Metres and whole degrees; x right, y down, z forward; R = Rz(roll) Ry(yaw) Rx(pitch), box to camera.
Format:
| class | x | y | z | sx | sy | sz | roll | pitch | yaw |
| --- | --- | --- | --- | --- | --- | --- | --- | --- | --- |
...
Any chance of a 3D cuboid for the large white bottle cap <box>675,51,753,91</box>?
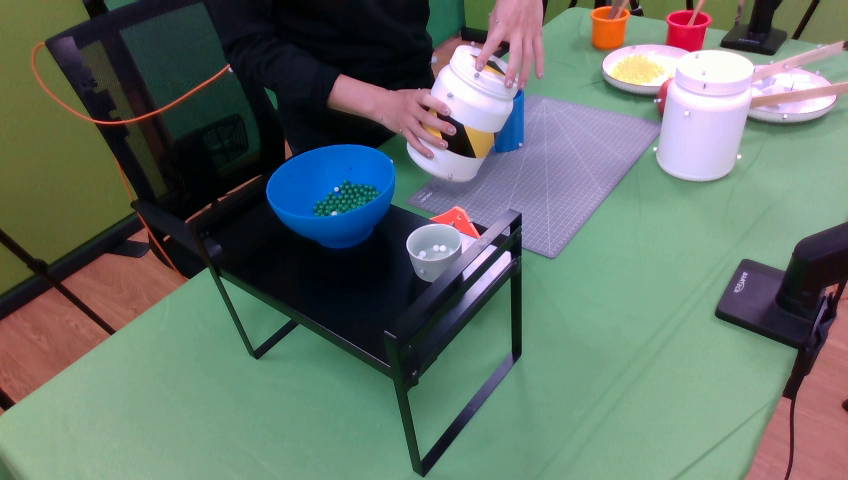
| class | x | y | z | sx | sy | sz | roll | pitch | yaw |
| --- | --- | --- | --- | --- | --- | --- | --- | --- | --- |
| large white bottle cap | 0.463 | -0.271 | 0.967 | 0.115 | 0.018 | 0.114 | -4 | 41 | 4 |

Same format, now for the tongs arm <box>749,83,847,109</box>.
| class | x | y | z | sx | sy | sz | roll | pitch | yaw |
| --- | --- | --- | --- | --- | --- | --- | --- | --- | --- |
| tongs arm | 0.734 | -0.280 | 1.133 | 0.388 | 0.028 | 0.028 | -9 | 47 | -5 |

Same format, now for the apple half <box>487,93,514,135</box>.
| class | x | y | z | sx | sy | sz | roll | pitch | yaw |
| --- | --- | --- | --- | --- | --- | --- | --- | --- | --- |
| apple half | 0.141 | -0.238 | 1.158 | 0.033 | 0.081 | 0.080 | -12 | 40 | -15 |

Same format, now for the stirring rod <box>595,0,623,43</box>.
| class | x | y | z | sx | sy | sz | roll | pitch | yaw |
| --- | --- | --- | --- | --- | --- | --- | --- | --- | --- |
| stirring rod | 0.460 | -0.556 | 1.459 | 0.014 | 0.006 | 0.176 | 30 | 93 | 23 |

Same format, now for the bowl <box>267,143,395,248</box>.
| class | x | y | z | sx | sy | sz | roll | pitch | yaw |
| --- | --- | --- | --- | --- | --- | --- | --- | --- | --- |
| bowl | -0.104 | -0.043 | 0.726 | 0.151 | 0.077 | 0.150 | -4 | 40 | 4 |

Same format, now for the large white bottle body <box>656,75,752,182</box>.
| class | x | y | z | sx | sy | sz | roll | pitch | yaw |
| --- | --- | --- | --- | --- | --- | --- | --- | --- | --- |
| large white bottle body | 0.472 | -0.207 | 1.022 | 0.130 | 0.185 | 0.130 | -4 | 41 | 4 |

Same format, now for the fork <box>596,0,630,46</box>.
| class | x | y | z | sx | sy | sz | roll | pitch | yaw |
| --- | --- | --- | --- | --- | --- | --- | --- | --- | --- |
| fork | 0.481 | -0.556 | 1.452 | 0.028 | 0.019 | 0.207 | 40 | 103 | 40 |

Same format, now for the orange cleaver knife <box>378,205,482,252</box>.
| class | x | y | z | sx | sy | sz | roll | pitch | yaw |
| --- | --- | --- | --- | --- | --- | --- | --- | --- | --- |
| orange cleaver knife | 0.005 | -0.010 | 0.944 | 0.210 | 0.077 | 0.012 | -4 | 23 | 47 |

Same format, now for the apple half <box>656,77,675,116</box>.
| class | x | y | z | sx | sy | sz | roll | pitch | yaw |
| --- | --- | --- | --- | --- | --- | --- | --- | --- | --- |
| apple half | 0.488 | -0.281 | 1.192 | 0.053 | 0.075 | 0.081 | 24 | 53 | 37 |

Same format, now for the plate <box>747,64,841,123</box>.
| class | x | y | z | sx | sy | sz | roll | pitch | yaw |
| --- | --- | --- | --- | --- | --- | --- | --- | --- | --- |
| plate | 0.694 | -0.283 | 1.189 | 0.207 | 0.039 | 0.206 | -4 | 40 | 4 |

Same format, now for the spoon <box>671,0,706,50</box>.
| class | x | y | z | sx | sy | sz | roll | pitch | yaw |
| --- | --- | --- | --- | --- | --- | --- | --- | --- | --- |
| spoon | 0.628 | -0.520 | 1.394 | 0.041 | 0.022 | 0.193 | 30 | 96 | 34 |

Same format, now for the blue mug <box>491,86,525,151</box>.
| class | x | y | z | sx | sy | sz | roll | pitch | yaw |
| --- | --- | --- | --- | --- | --- | --- | --- | --- | --- |
| blue mug | 0.138 | -0.240 | 1.169 | 0.116 | 0.106 | 0.082 | 10 | 44 | 21 |

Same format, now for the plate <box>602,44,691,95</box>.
| class | x | y | z | sx | sy | sz | roll | pitch | yaw |
| --- | --- | --- | --- | --- | --- | --- | --- | --- | --- |
| plate | 0.495 | -0.367 | 1.317 | 0.209 | 0.038 | 0.208 | -4 | 40 | 4 |

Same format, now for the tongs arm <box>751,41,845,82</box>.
| class | x | y | z | sx | sy | sz | roll | pitch | yaw |
| --- | --- | --- | --- | --- | --- | --- | --- | --- | --- |
| tongs arm | 0.708 | -0.331 | 1.194 | 0.386 | 0.026 | 0.050 | -19 | 45 | -16 |

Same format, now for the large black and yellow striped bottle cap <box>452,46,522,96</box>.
| class | x | y | z | sx | sy | sz | roll | pitch | yaw |
| --- | --- | --- | --- | --- | --- | --- | --- | --- | --- |
| large black and yellow striped bottle cap | 0.099 | -0.264 | 0.939 | 0.115 | 0.019 | 0.114 | 19 | 36 | -14 |

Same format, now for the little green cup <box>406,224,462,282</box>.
| class | x | y | z | sx | sy | sz | roll | pitch | yaw |
| --- | --- | --- | --- | --- | --- | --- | --- | --- | --- |
| little green cup | 0.012 | 0.015 | 0.668 | 0.061 | 0.039 | 0.061 | -4 | 40 | 4 |

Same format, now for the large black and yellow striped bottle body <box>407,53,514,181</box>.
| class | x | y | z | sx | sy | sz | roll | pitch | yaw |
| --- | --- | --- | --- | --- | --- | --- | --- | --- | --- |
| large black and yellow striped bottle body | 0.064 | -0.203 | 0.985 | 0.131 | 0.184 | 0.130 | 20 | 34 | -14 |
